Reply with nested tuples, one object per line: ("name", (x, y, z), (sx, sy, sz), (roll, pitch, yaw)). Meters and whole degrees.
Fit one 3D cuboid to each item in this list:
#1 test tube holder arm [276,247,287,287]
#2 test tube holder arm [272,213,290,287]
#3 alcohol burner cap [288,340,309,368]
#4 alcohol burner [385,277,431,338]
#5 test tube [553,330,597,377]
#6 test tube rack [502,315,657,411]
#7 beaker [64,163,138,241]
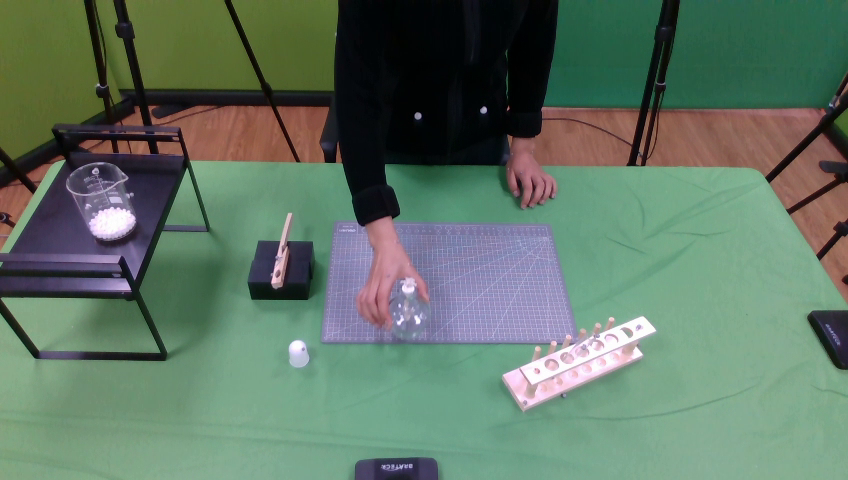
("test tube holder arm", (-0.251, 0.046, 1.068), (0.010, 0.015, 0.087), (0, 45, -4))
("test tube holder arm", (-0.259, 0.015, 1.099), (0.013, 0.015, 0.177), (-1, 45, -4))
("alcohol burner cap", (-0.207, 0.183, 0.991), (0.034, 0.048, 0.033), (3, 47, -3))
("alcohol burner", (-0.026, 0.103, 0.981), (0.078, 0.120, 0.077), (2, 44, -2))
("test tube", (0.226, 0.176, 0.924), (0.017, 0.151, 0.017), (6, 55, -9))
("test tube rack", (0.253, 0.186, 0.988), (0.242, 0.085, 0.066), (-18, 50, -20))
("beaker", (-0.477, -0.055, 0.910), (0.084, 0.101, 0.073), (-9, 48, -13))
